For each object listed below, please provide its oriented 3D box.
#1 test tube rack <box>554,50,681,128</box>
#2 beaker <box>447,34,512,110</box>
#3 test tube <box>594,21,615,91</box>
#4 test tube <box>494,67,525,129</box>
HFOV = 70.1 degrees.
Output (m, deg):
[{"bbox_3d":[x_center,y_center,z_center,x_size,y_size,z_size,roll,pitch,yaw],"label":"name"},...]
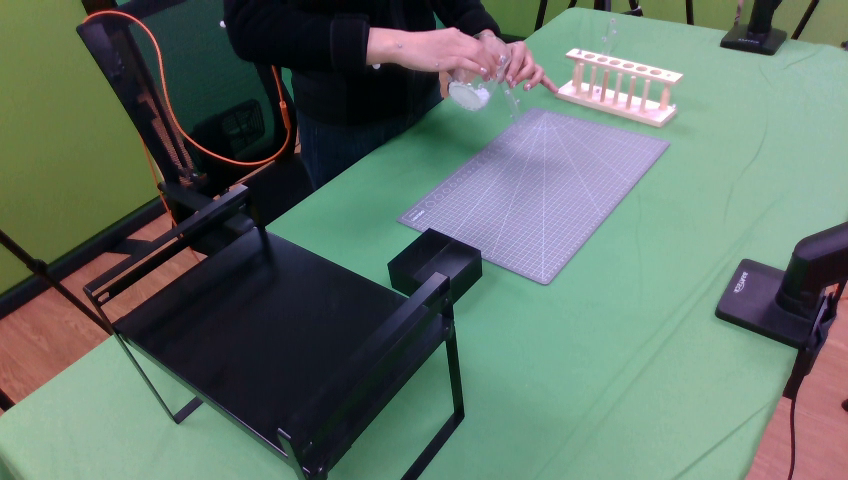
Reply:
[{"bbox_3d":[0.388,-0.311,1.234,0.240,0.085,0.067,28,51,34],"label":"test tube rack"},{"bbox_3d":[0.087,-0.265,0.970,0.073,0.084,0.100,18,70,31],"label":"beaker"},{"bbox_3d":[0.367,-0.372,1.232,0.017,0.151,0.017,0,43,0],"label":"test tube"},{"bbox_3d":[0.154,-0.248,1.073,0.017,0.152,0.017,-13,55,19],"label":"test tube"}]
